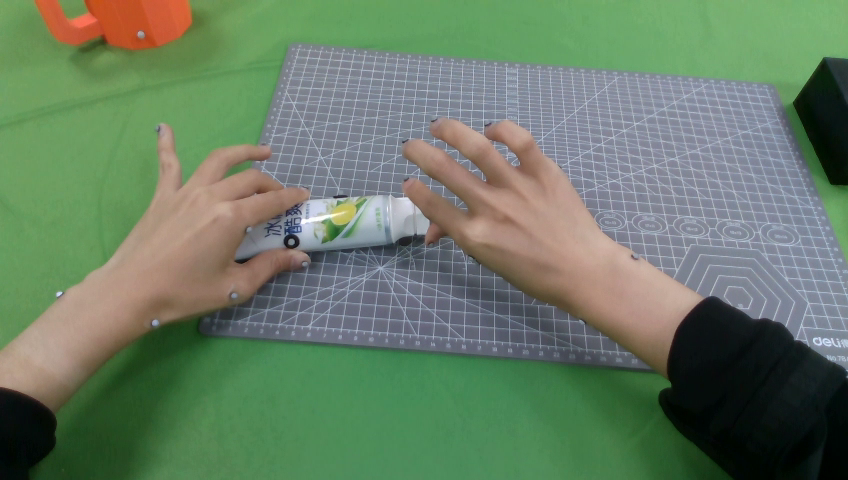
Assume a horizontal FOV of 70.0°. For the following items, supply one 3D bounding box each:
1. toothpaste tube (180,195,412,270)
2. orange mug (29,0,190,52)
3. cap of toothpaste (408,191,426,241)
[{"bbox_3d":[-0.084,-0.011,0.424,0.165,0.035,0.054,-6,50,-3],"label":"toothpaste tube"},{"bbox_3d":[-0.275,-0.223,0.523,0.083,0.101,0.126,40,57,23],"label":"orange mug"},{"bbox_3d":[-0.005,-0.017,0.426,0.011,0.037,0.037,-8,55,-6],"label":"cap of toothpaste"}]
